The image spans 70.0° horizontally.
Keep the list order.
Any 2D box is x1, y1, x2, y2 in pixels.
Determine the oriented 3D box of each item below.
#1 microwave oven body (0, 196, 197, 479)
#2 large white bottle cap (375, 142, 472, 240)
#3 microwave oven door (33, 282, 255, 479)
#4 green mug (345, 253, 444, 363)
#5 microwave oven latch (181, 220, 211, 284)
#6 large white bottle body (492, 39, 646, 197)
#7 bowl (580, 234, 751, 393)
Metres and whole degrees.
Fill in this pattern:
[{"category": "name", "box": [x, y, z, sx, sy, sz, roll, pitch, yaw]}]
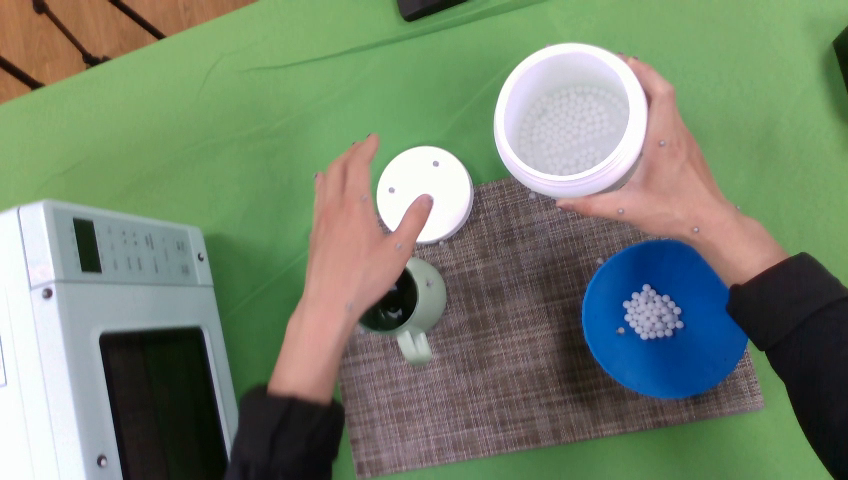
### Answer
[{"category": "microwave oven body", "box": [-0.411, 0.218, 0.668, 0.325, 0.261, 0.440, -16, 83, 12]}, {"category": "large white bottle cap", "box": [-0.002, -0.057, 0.708, 0.114, 0.018, 0.114, -1, 85, 14]}, {"category": "microwave oven door", "box": [-0.265, 0.218, 0.626, 0.039, 0.245, 0.354, -17, 82, 13]}, {"category": "green mug", "box": [-0.025, 0.073, 0.659, 0.092, 0.105, 0.125, -24, 81, 11]}, {"category": "microwave oven latch", "box": [-0.290, 0.016, 0.751, 0.030, 0.029, 0.079, -16, 83, 12]}, {"category": "large white bottle body", "box": [0.135, -0.107, 0.561, 0.130, 0.185, 0.130, 1, 93, 17]}, {"category": "bowl", "box": [0.234, 0.072, 0.606, 0.151, 0.077, 0.151, -1, 86, 15]}]
